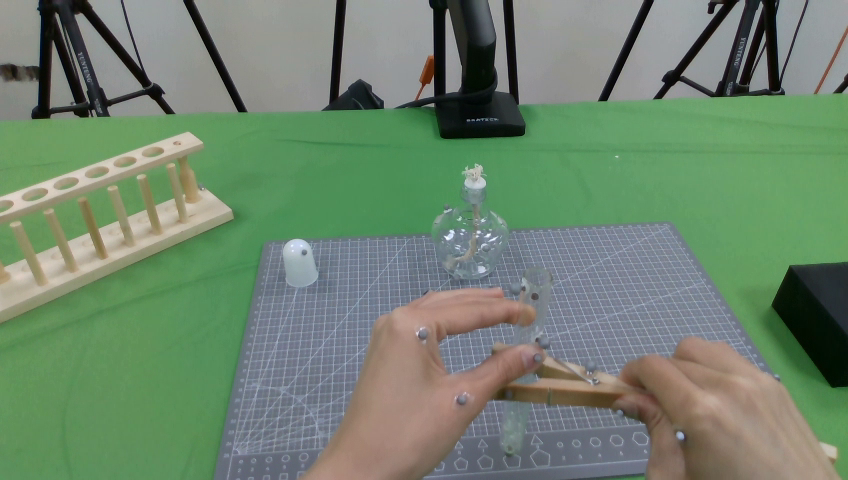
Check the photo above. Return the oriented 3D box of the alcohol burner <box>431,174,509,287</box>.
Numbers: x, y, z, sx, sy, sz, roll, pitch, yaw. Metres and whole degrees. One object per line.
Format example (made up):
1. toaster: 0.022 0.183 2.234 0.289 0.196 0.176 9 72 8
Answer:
1. alcohol burner: 0.046 -0.014 0.586 0.078 0.120 0.077 1 39 -1

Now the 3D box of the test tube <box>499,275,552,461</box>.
1. test tube: 0.057 0.081 0.348 0.017 0.151 0.017 0 38 0

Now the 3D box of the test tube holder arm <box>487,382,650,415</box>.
1. test tube holder arm: 0.079 0.088 0.337 0.088 0.015 0.010 1 41 6

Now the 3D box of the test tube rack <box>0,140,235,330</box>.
1. test tube rack: -0.324 -0.014 0.611 0.242 0.086 0.066 -30 46 -33

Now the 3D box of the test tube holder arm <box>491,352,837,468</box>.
1. test tube holder arm: 0.123 0.091 0.331 0.177 0.015 0.013 12 45 17

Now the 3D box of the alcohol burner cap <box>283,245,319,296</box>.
1. alcohol burner cap: -0.122 0.027 0.591 0.034 0.048 0.033 1 38 0
